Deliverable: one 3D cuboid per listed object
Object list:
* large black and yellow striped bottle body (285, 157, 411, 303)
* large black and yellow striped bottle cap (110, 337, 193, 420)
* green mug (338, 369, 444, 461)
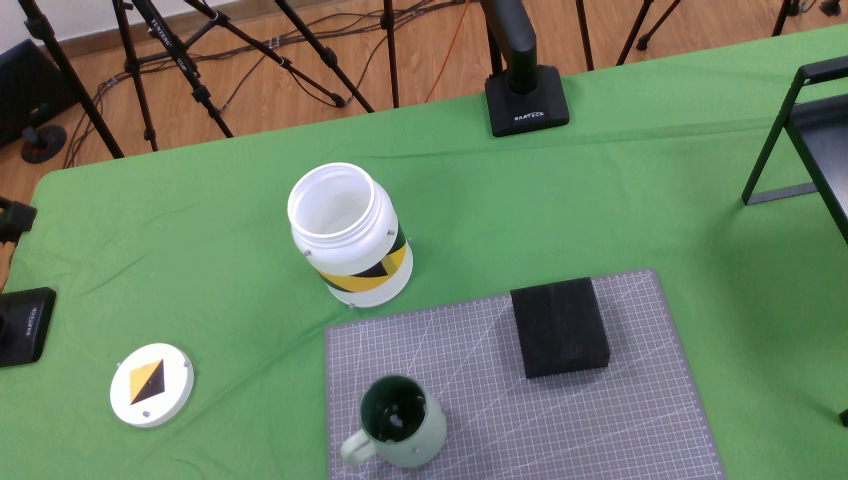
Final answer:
[{"bbox_3d":[-0.096,-0.011,0.793,0.130,0.186,0.129,-5,60,9],"label":"large black and yellow striped bottle body"},{"bbox_3d":[-0.376,0.190,0.835,0.115,0.019,0.114,-5,60,9],"label":"large black and yellow striped bottle cap"},{"bbox_3d":[-0.041,0.212,0.701,0.125,0.106,0.091,-33,61,-8],"label":"green mug"}]
